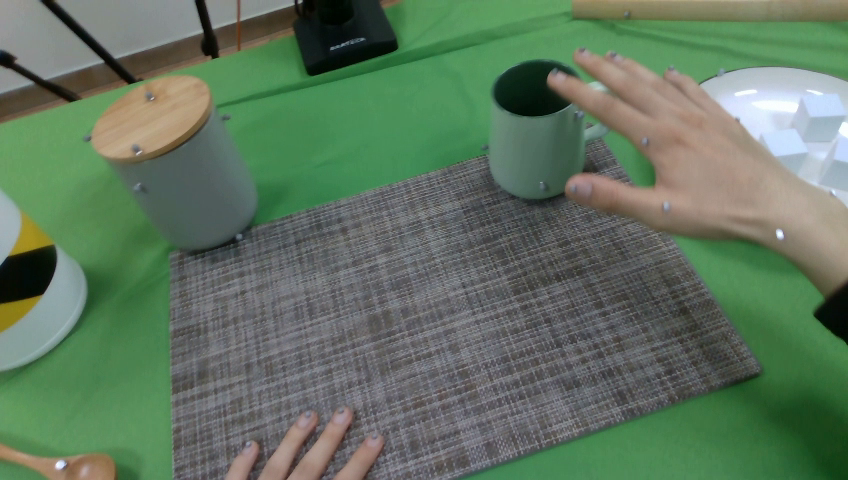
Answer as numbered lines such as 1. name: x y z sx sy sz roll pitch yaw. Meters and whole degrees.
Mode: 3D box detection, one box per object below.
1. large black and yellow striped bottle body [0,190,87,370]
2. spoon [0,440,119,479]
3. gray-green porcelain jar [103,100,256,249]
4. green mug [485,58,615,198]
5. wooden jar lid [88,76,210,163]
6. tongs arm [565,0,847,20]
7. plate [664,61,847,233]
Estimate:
1. large black and yellow striped bottle body: -0.399 0.017 0.515 0.130 0.186 0.129 -5 53 6
2. spoon: -0.321 0.172 0.487 0.193 0.022 0.041 9 74 16
3. gray-green porcelain jar: -0.227 -0.062 0.578 0.106 0.128 0.105 -6 49 7
4. green mug: 0.117 -0.106 0.563 0.125 0.106 0.091 -18 52 -4
5. wooden jar lid: -0.237 -0.103 0.531 0.108 0.021 0.107 -7 52 9
6. tongs arm: 0.341 -0.255 0.654 0.385 0.028 0.028 10 50 28
7. plate: 0.328 -0.085 0.558 0.207 0.039 0.205 -5 53 7
